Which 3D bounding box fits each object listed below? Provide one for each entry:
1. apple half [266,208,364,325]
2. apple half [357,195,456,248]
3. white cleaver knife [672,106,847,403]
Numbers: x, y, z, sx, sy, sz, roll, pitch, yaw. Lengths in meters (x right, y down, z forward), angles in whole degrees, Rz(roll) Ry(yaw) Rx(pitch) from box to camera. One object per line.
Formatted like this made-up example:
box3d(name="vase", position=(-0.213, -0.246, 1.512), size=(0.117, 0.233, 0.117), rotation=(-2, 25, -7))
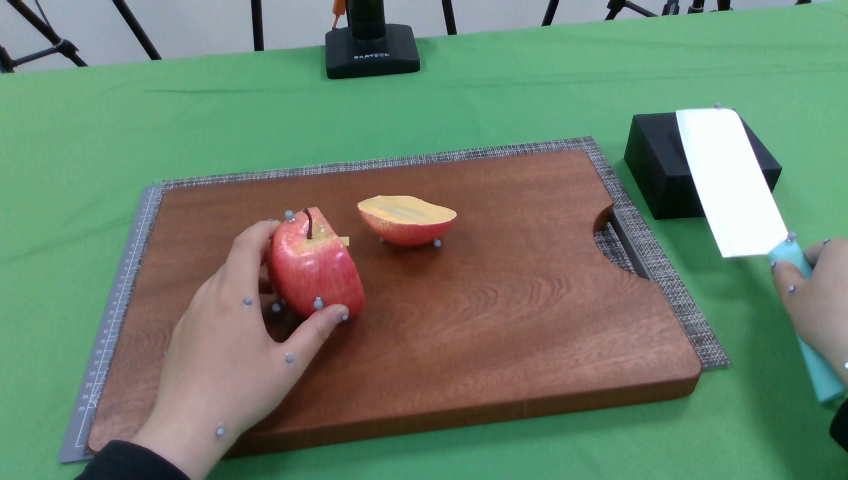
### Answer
box3d(name="apple half", position=(-0.082, 0.025, 0.429), size=(0.053, 0.075, 0.080), rotation=(-26, 51, -17))
box3d(name="apple half", position=(-0.017, -0.010, 0.487), size=(0.081, 0.033, 0.081), rotation=(7, 21, -2))
box3d(name="white cleaver knife", position=(0.262, -0.006, 0.487), size=(0.066, 0.022, 0.283), rotation=(-7, 54, 5))
